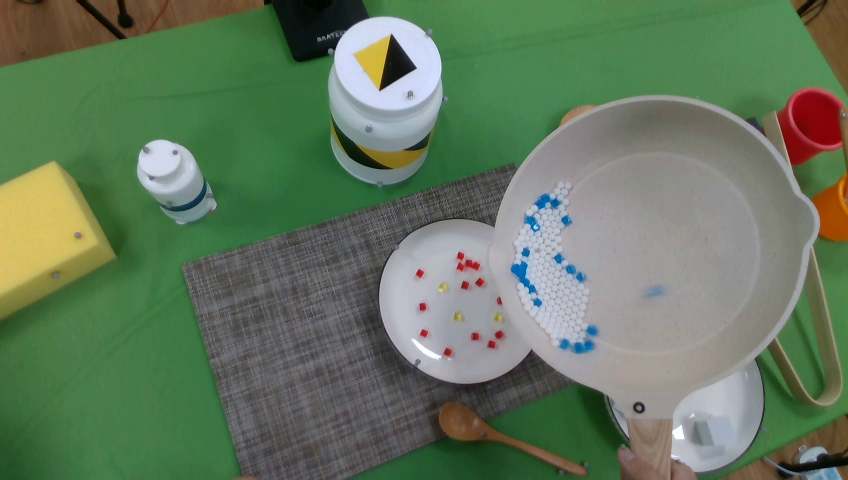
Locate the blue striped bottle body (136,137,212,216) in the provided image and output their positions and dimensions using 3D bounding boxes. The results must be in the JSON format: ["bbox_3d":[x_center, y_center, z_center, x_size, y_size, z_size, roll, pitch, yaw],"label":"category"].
[{"bbox_3d":[-0.290,-0.076,0.701,0.063,0.121,0.062,2,73,-7],"label":"blue striped bottle body"}]

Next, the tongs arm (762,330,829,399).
[{"bbox_3d":[0.415,0.036,0.785,0.051,0.026,0.384,-24,88,-16],"label":"tongs arm"}]

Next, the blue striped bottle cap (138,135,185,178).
[{"bbox_3d":[-0.283,-0.090,0.652,0.044,0.021,0.044,2,71,-5],"label":"blue striped bottle cap"}]

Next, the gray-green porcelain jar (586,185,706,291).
[{"bbox_3d":[0.268,0.003,0.756,0.106,0.127,0.105,2,72,-7],"label":"gray-green porcelain jar"}]

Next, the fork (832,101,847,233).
[{"bbox_3d":[0.562,-0.094,0.815,0.028,0.018,0.209,-32,124,-8],"label":"fork"}]

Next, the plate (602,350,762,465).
[{"bbox_3d":[0.317,0.173,0.760,0.208,0.039,0.206,2,73,-7],"label":"plate"}]

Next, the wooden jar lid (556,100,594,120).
[{"bbox_3d":[0.234,-0.145,0.851,0.108,0.021,0.108,2,75,-8],"label":"wooden jar lid"}]

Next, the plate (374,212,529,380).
[{"bbox_3d":[0.042,0.068,0.746,0.209,0.038,0.208,2,73,-7],"label":"plate"}]

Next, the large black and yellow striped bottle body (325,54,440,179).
[{"bbox_3d":[-0.052,-0.166,0.730,0.131,0.184,0.130,2,73,-7],"label":"large black and yellow striped bottle body"}]

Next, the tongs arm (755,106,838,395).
[{"bbox_3d":[0.493,0.010,0.806,0.028,0.028,0.386,-9,85,-19],"label":"tongs arm"}]

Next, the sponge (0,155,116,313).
[{"bbox_3d":[-0.479,0.009,0.680,0.207,0.061,0.118,-32,80,-16],"label":"sponge"}]

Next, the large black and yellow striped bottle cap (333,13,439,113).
[{"bbox_3d":[-0.040,-0.191,0.649,0.115,0.019,0.114,2,72,-6],"label":"large black and yellow striped bottle cap"}]

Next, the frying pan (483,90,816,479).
[{"bbox_3d":[0.204,0.099,0.574,0.305,0.104,0.485,-7,70,31],"label":"frying pan"}]

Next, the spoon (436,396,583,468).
[{"bbox_3d":[0.102,0.233,0.716,0.194,0.022,0.041,22,53,-3],"label":"spoon"}]
